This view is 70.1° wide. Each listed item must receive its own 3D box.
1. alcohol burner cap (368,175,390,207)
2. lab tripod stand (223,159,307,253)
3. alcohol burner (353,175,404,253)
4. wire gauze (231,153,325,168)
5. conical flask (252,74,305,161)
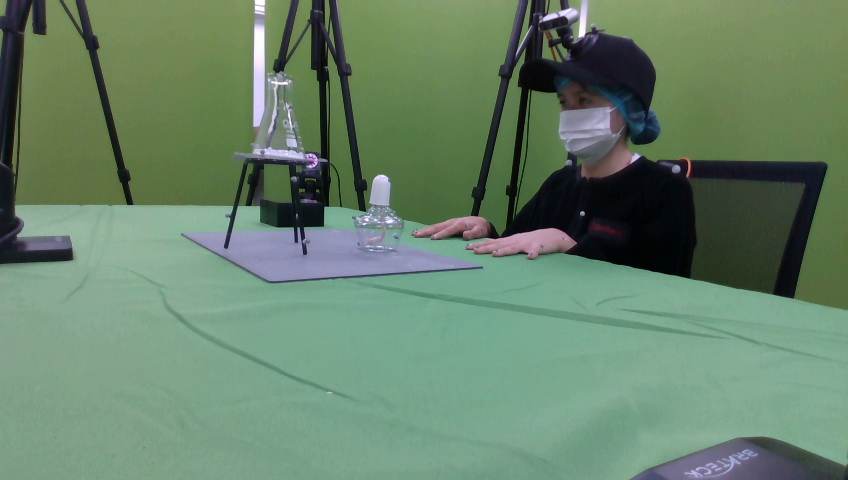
[{"bbox_3d":[-0.067,-0.075,0.923,0.034,0.048,0.034,8,11,-1],"label":"alcohol burner cap"},{"bbox_3d":[-0.220,-0.053,0.896,0.148,0.131,0.148,1,6,0],"label":"lab tripod stand"},{"bbox_3d":[-0.069,-0.040,0.927,0.078,0.119,0.078,1,9,0],"label":"alcohol burner"},{"bbox_3d":[-0.215,-0.117,0.882,0.125,0.011,0.121,3,7,-19],"label":"wire gauze"},{"bbox_3d":[-0.211,-0.176,0.879,0.075,0.122,0.075,3,6,0],"label":"conical flask"}]
